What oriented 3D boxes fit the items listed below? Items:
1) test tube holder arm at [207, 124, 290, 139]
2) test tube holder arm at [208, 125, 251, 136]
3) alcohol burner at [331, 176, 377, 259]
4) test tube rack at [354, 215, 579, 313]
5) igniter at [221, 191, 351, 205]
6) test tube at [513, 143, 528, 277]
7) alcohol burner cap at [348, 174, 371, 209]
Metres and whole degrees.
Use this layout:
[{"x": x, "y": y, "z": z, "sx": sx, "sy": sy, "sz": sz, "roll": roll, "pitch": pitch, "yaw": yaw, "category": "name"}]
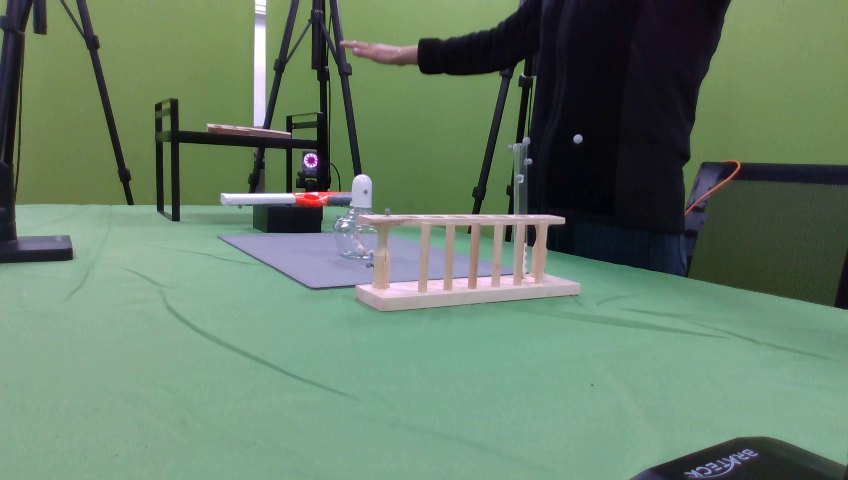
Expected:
[{"x": -0.381, "y": -0.237, "z": 1.327, "sx": 0.179, "sy": 0.015, "sz": 0.013, "roll": 0, "pitch": 42, "yaw": -32, "category": "test tube holder arm"}, {"x": -0.418, "y": -0.234, "z": 1.299, "sx": 0.088, "sy": 0.015, "sz": 0.010, "roll": 1, "pitch": 41, "yaw": -31, "category": "test tube holder arm"}, {"x": -0.091, "y": -0.033, "z": 0.855, "sx": 0.078, "sy": 0.119, "sz": 0.078, "roll": 4, "pitch": 7, "yaw": 0, "category": "alcohol burner"}, {"x": 0.053, "y": 0.019, "z": 0.635, "sx": 0.243, "sy": 0.085, "sz": 0.066, "roll": -1, "pitch": 8, "yaw": -29, "category": "test tube rack"}, {"x": -0.239, "y": -0.078, "z": 1.149, "sx": 0.278, "sy": 0.025, "sz": 0.057, "roll": -3, "pitch": 20, "yaw": -31, "category": "igniter"}, {"x": 0.108, "y": -0.033, "z": 0.677, "sx": 0.017, "sy": 0.150, "sz": 0.017, "roll": -1, "pitch": 8, "yaw": 1, "category": "test tube"}, {"x": -0.089, "y": -0.068, "z": 0.849, "sx": 0.034, "sy": 0.048, "sz": 0.034, "roll": 3, "pitch": 10, "yaw": 0, "category": "alcohol burner cap"}]
